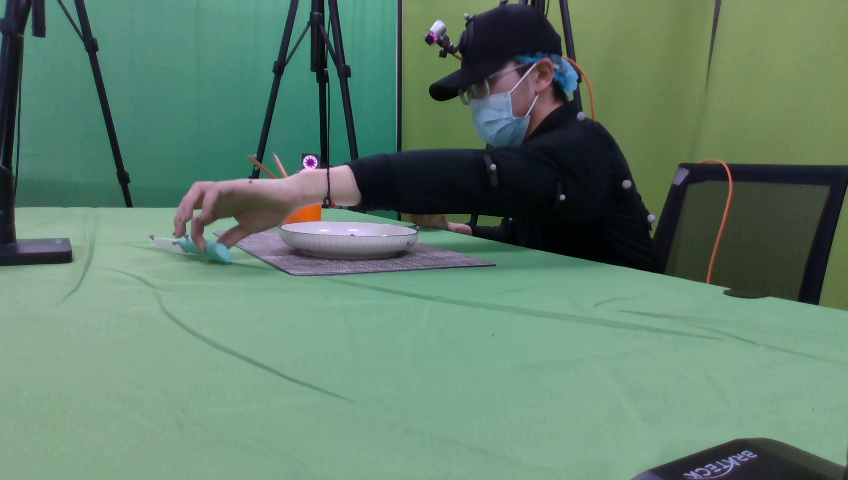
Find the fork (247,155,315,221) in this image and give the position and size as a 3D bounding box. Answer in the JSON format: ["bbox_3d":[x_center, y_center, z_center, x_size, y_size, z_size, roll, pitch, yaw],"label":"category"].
[{"bbox_3d":[-0.275,-0.096,1.188,0.028,0.018,0.208,28,-20,49],"label":"fork"}]

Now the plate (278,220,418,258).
[{"bbox_3d":[-0.114,-0.002,0.914,0.209,0.038,0.209,2,7,0],"label":"plate"}]

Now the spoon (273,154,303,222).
[{"bbox_3d":[-0.280,-0.107,1.247,0.021,0.193,0.042,-28,-29,10],"label":"spoon"}]

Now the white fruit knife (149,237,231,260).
[{"bbox_3d":[-0.331,0.008,0.836,0.206,0.027,0.016,4,28,40],"label":"white fruit knife"}]
